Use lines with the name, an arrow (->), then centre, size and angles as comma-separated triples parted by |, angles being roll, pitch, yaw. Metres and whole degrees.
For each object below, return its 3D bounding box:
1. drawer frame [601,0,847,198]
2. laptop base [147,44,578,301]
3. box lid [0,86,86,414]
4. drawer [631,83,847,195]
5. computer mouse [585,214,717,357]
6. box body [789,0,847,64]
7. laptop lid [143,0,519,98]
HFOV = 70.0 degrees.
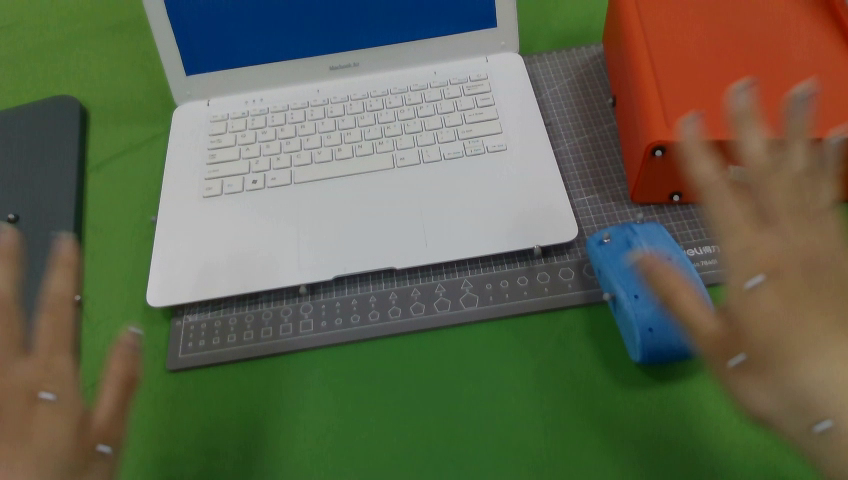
drawer frame -> 0.268, -0.140, 0.520 | 0.201, 0.083, 0.211 | -1, 55, 5
laptop base -> -0.062, -0.070, 0.550 | 0.354, 0.023, 0.233 | -9, 59, 0
box lid -> -0.441, 0.010, 0.542 | 0.263, 0.015, 0.367 | -17, 56, -5
drawer -> 0.268, -0.138, 0.520 | 0.194, 0.074, 0.210 | -1, 55, 5
computer mouse -> 0.164, 0.028, 0.444 | 0.063, 0.041, 0.116 | -13, 54, 1
box body -> 0.505, -0.220, 0.502 | 0.254, 0.162, 0.360 | -13, 55, -3
laptop lid -> -0.094, -0.269, 0.564 | 0.357, 0.243, 0.013 | -10, 26, 1
